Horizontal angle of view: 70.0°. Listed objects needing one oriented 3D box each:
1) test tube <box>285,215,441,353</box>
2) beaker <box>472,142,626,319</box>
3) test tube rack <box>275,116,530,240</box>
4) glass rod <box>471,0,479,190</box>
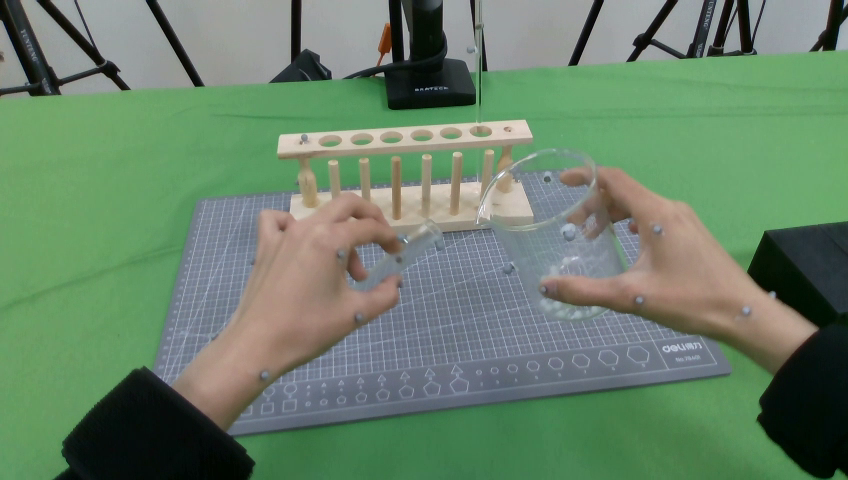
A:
[{"bbox_3d":[-0.047,0.034,0.421,0.150,0.017,0.017,-41,37,21],"label":"test tube"},{"bbox_3d":[0.087,-0.001,0.403,0.084,0.101,0.073,-25,36,9],"label":"beaker"},{"bbox_3d":[-0.018,-0.062,0.598,0.243,0.086,0.066,-4,41,-5],"label":"test tube rack"},{"bbox_3d":[0.049,-0.137,0.582,0.008,0.201,0.008,-2,34,2],"label":"glass rod"}]
